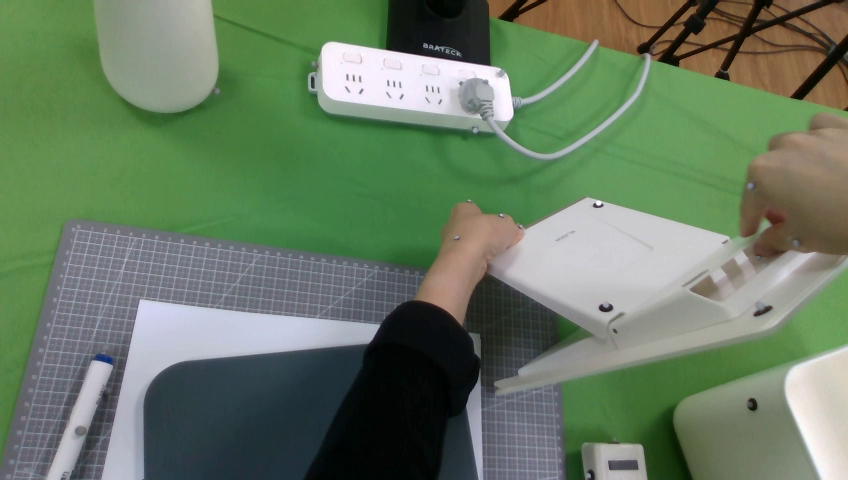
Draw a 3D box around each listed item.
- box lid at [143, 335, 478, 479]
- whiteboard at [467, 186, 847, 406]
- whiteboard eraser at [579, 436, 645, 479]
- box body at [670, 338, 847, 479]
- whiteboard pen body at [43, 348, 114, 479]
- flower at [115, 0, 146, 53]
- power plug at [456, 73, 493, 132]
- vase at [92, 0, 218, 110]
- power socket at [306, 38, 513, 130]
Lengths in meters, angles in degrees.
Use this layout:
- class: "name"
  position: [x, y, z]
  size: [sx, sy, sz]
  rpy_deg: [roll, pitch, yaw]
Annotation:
- class: "box lid"
  position: [-0.070, 0.259, 0.465]
  size: [0.264, 0.015, 0.369]
  rpy_deg: [-2, 71, -21]
- class: "whiteboard"
  position: [0.170, -0.002, 0.489]
  size: [0.217, 0.306, 0.143]
  rpy_deg: [-25, 79, -28]
- class: "whiteboard eraser"
  position: [0.171, 0.235, 0.546]
  size: [0.056, 0.042, 0.112]
  rpy_deg: [6, 67, -19]
- class: "box body"
  position: [0.416, 0.274, 0.550]
  size: [0.255, 0.161, 0.361]
  rpy_deg: [-10, 73, -23]
- class: "whiteboard pen body"
  position: [-0.254, 0.147, 0.433]
  size: [0.017, 0.017, 0.140]
  rpy_deg: [16, 67, -13]
- class: "flower"
  position: [-0.174, -0.210, 0.415]
  size: [0.044, 0.360, 0.038]
  rpy_deg: [-41, 104, -37]
- class: "power plug"
  position: [0.049, -0.140, 0.629]
  size: [0.035, 0.053, 0.072]
  rpy_deg: [13, 72, -14]
- class: "vase"
  position: [-0.218, -0.191, 0.484]
  size: [0.098, 0.200, 0.097]
  rpy_deg: [7, 67, -16]
- class: "power socket"
  position: [-0.008, -0.163, 0.643]
  size: [0.228, 0.032, 0.071]
  rpy_deg: [3, 69, -19]
